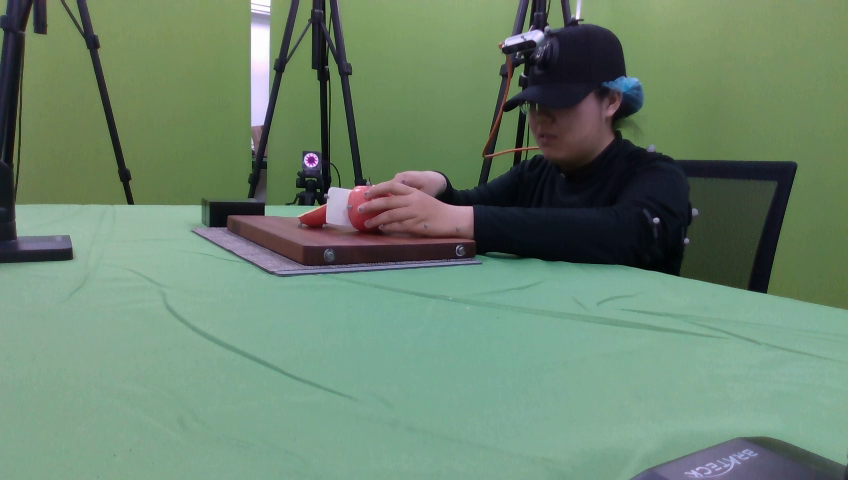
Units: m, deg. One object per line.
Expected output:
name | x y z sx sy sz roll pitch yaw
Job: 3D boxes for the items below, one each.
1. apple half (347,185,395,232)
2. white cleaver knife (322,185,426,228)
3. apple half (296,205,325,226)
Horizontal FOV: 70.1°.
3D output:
apple half | -0.076 -0.049 0.945 0.053 0.074 0.081 12 7 34
white cleaver knife | -0.078 -0.053 1.008 0.021 0.066 0.288 9 6 31
apple half | -0.163 -0.041 0.979 0.081 0.033 0.081 -20 7 3
